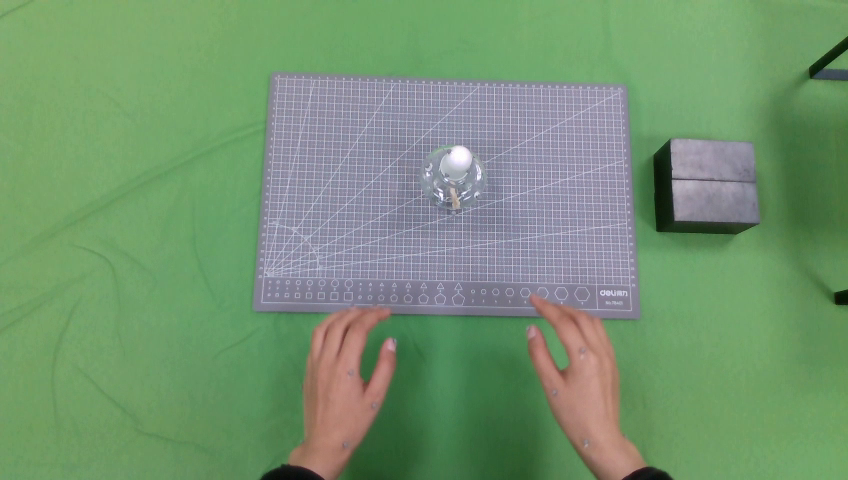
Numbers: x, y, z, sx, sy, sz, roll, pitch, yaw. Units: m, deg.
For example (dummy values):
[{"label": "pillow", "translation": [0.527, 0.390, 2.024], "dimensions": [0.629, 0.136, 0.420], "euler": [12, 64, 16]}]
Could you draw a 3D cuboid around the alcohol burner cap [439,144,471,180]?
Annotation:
[{"label": "alcohol burner cap", "translation": [0.034, -0.085, 0.647], "dimensions": [0.034, 0.048, 0.033], "euler": [1, 80, -4]}]

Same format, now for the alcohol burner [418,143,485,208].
[{"label": "alcohol burner", "translation": [0.033, -0.078, 0.681], "dimensions": [0.078, 0.119, 0.077], "euler": [1, 77, -4]}]
